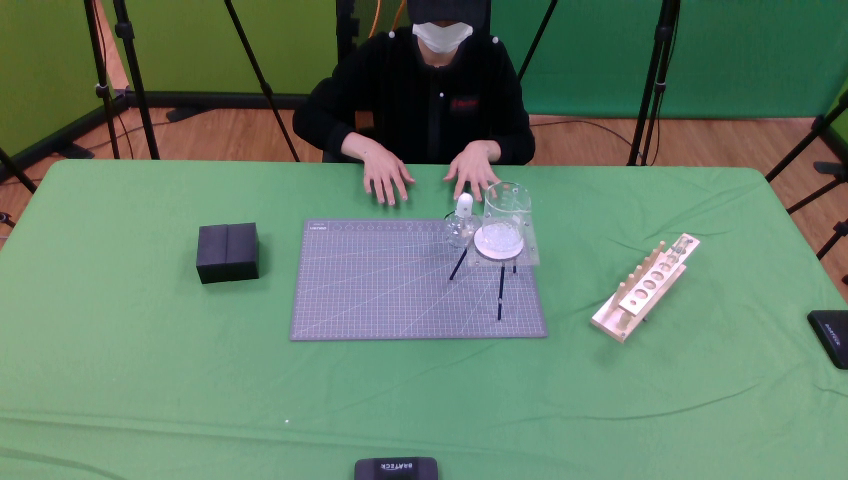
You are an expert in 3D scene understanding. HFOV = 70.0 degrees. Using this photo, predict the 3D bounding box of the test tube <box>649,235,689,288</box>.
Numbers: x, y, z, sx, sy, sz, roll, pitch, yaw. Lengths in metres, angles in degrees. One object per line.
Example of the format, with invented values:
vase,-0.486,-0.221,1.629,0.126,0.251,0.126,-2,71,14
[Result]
test tube,0.432,0.043,1.073,0.017,0.151,0.017,3,51,-3

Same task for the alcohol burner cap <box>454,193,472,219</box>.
alcohol burner cap,0.076,-0.068,1.151,0.034,0.048,0.033,4,46,-4

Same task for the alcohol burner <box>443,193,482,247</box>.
alcohol burner,0.075,-0.044,1.177,0.078,0.120,0.077,1,44,-1

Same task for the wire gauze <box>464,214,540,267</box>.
wire gauze,0.131,-0.001,1.035,0.121,0.011,0.124,1,44,-3

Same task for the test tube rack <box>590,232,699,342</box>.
test tube rack,0.407,0.074,1.112,0.066,0.085,0.242,35,53,26

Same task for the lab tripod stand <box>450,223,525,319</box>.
lab tripod stand,0.120,0.046,1.080,0.148,0.132,0.147,1,47,-1

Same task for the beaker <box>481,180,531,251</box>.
beaker,0.135,-0.036,1.001,0.083,0.101,0.074,30,53,24
